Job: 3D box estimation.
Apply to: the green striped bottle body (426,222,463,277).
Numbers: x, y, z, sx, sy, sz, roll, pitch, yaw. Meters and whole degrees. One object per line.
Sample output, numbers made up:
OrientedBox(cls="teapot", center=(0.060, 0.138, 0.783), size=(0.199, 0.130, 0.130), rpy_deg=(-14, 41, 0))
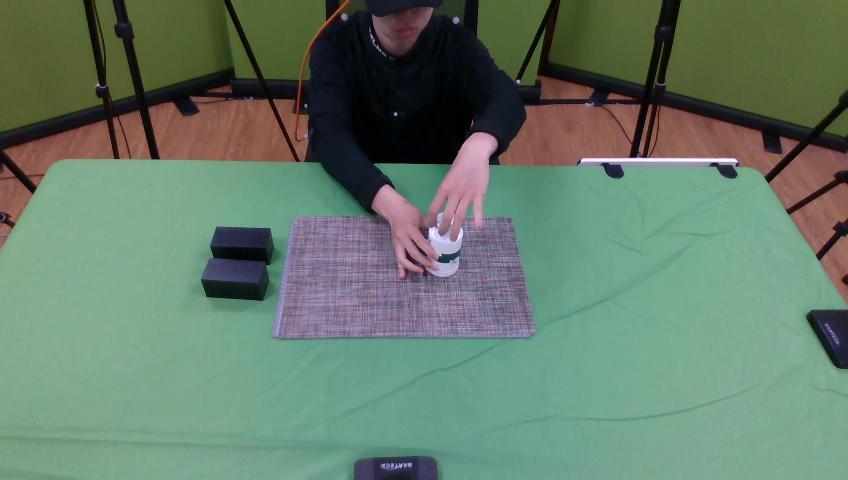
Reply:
OrientedBox(cls="green striped bottle body", center=(0.037, 0.008, 1.121), size=(0.063, 0.120, 0.063), rpy_deg=(2, 46, -2))

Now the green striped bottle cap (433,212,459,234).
OrientedBox(cls="green striped bottle cap", center=(0.039, -0.030, 1.082), size=(0.044, 0.020, 0.044), rpy_deg=(4, 41, -3))
